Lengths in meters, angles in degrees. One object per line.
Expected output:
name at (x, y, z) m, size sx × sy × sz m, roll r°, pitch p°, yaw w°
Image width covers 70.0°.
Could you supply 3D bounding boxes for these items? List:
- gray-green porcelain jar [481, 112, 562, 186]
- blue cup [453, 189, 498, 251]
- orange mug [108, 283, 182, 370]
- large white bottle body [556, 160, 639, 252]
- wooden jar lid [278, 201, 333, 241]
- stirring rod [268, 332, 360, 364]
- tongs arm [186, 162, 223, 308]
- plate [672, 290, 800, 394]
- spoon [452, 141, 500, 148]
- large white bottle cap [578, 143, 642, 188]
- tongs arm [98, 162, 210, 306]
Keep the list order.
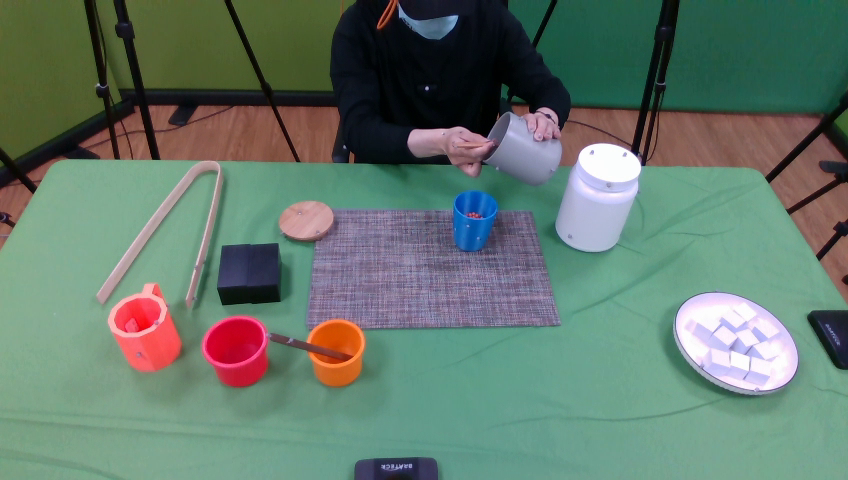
gray-green porcelain jar at (0.189, -0.169, 1.154) m, size 0.127 × 0.106 × 0.105 m, roll 25°, pitch 44°, yaw -14°
blue cup at (0.093, -0.033, 1.173) m, size 0.093 × 0.101 × 0.092 m, roll 3°, pitch 46°, yaw -3°
orange mug at (-0.445, 0.133, 0.983) m, size 0.083 × 0.101 × 0.125 m, roll -1°, pitch 50°, yaw -5°
large white bottle body at (0.340, -0.081, 1.185) m, size 0.131 × 0.185 × 0.130 m, roll 2°, pitch 46°, yaw -1°
wooden jar lid at (-0.236, -0.036, 1.213) m, size 0.108 × 0.021 × 0.107 m, roll 0°, pitch 47°, yaw 0°
stirring rod at (-0.167, 0.169, 0.941) m, size 0.177 × 0.006 × 0.014 m, roll 26°, pitch 26°, yaw -41°
tongs arm at (-0.435, -0.025, 1.180) m, size 0.051 × 0.027 × 0.382 m, roll -4°, pitch 46°, yaw 1°
plate at (0.533, 0.178, 1.050) m, size 0.208 × 0.039 × 0.206 m, roll 2°, pitch 46°, yaw -2°
spoon at (0.145, -0.175, 1.148) m, size 0.194 × 0.022 × 0.041 m, roll 5°, pitch 41°, yaw -20°
large white bottle cap at (0.344, -0.139, 1.123) m, size 0.115 × 0.018 × 0.114 m, roll 2°, pitch 46°, yaw -2°
tongs arm at (-0.519, -0.026, 1.185) m, size 0.028 × 0.028 × 0.385 m, roll 4°, pitch 46°, yaw 14°
